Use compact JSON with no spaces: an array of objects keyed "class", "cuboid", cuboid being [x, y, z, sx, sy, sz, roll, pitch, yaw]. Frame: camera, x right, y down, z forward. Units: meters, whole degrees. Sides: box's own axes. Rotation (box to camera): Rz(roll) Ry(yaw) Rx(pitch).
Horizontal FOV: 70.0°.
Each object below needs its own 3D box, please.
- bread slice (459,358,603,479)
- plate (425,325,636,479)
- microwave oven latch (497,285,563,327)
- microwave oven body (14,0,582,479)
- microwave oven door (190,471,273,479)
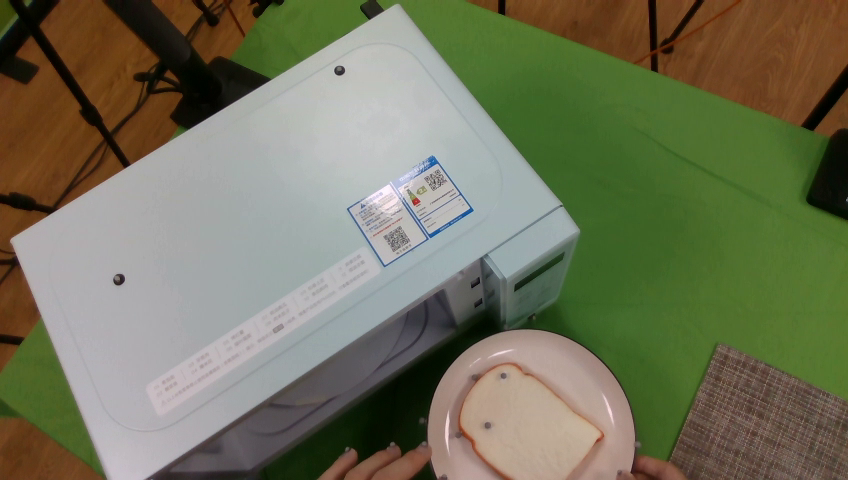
[{"class":"bread slice","cuboid":[0.100,0.188,0.621,0.131,0.019,0.105,40,77,16]},{"class":"plate","cuboid":[0.105,0.193,0.618,0.207,0.039,0.206,-1,71,4]},{"class":"microwave oven latch","cuboid":[0.124,0.069,0.711,0.079,0.030,0.030,-31,70,-4]},{"class":"microwave oven body","cuboid":[-0.116,0.020,0.655,0.442,0.262,0.323,-33,71,-4]},{"class":"microwave oven door","cuboid":[-0.055,0.282,0.550,0.355,0.245,0.039,13,72,11]}]
